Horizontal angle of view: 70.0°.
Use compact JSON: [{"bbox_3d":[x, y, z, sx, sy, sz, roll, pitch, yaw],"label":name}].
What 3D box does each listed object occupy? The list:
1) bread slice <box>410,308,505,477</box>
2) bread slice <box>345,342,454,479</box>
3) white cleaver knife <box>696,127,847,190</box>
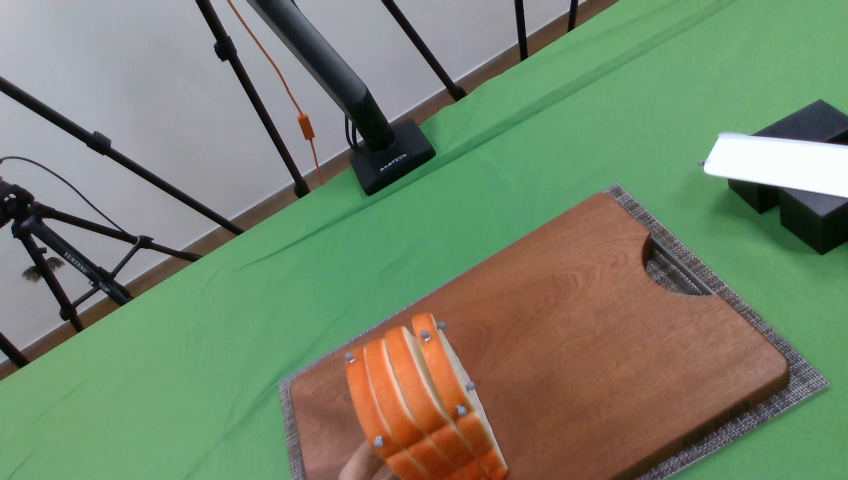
[{"bbox_3d":[0.026,0.115,0.480,0.019,0.133,0.103,-26,42,-1],"label":"bread slice"},{"bbox_3d":[-0.020,0.140,0.485,0.018,0.136,0.106,-31,38,5],"label":"bread slice"},{"bbox_3d":[0.365,-0.058,0.489,0.283,0.022,0.065,22,66,42],"label":"white cleaver knife"}]
